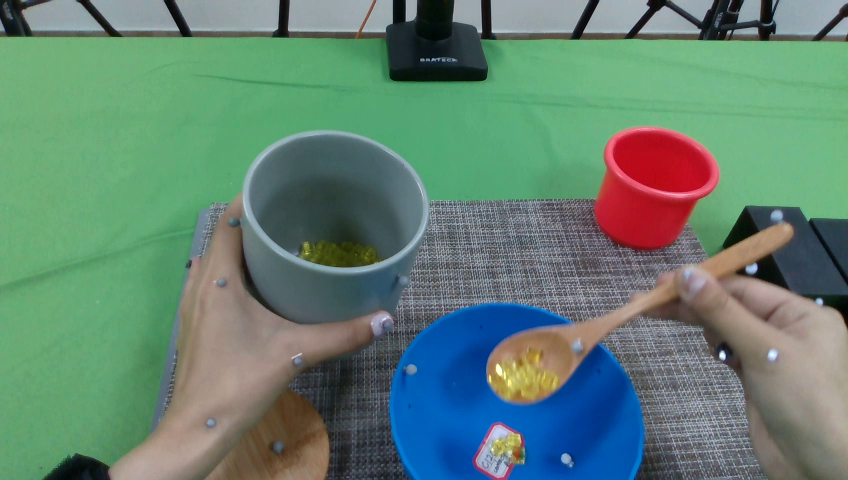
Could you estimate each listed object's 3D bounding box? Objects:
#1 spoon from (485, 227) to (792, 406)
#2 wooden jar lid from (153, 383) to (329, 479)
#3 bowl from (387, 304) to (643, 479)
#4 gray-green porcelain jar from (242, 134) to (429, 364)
[{"bbox_3d":[0.124,0.043,0.354,0.194,0.022,0.041,-30,62,11],"label":"spoon"},{"bbox_3d":[-0.115,0.144,0.390,0.108,0.021,0.107,2,46,-2],"label":"wooden jar lid"},{"bbox_3d":[0.051,0.123,0.383,0.151,0.077,0.150,2,47,-2],"label":"bowl"},{"bbox_3d":[-0.062,0.013,0.391,0.106,0.127,0.105,8,53,-11],"label":"gray-green porcelain jar"}]
